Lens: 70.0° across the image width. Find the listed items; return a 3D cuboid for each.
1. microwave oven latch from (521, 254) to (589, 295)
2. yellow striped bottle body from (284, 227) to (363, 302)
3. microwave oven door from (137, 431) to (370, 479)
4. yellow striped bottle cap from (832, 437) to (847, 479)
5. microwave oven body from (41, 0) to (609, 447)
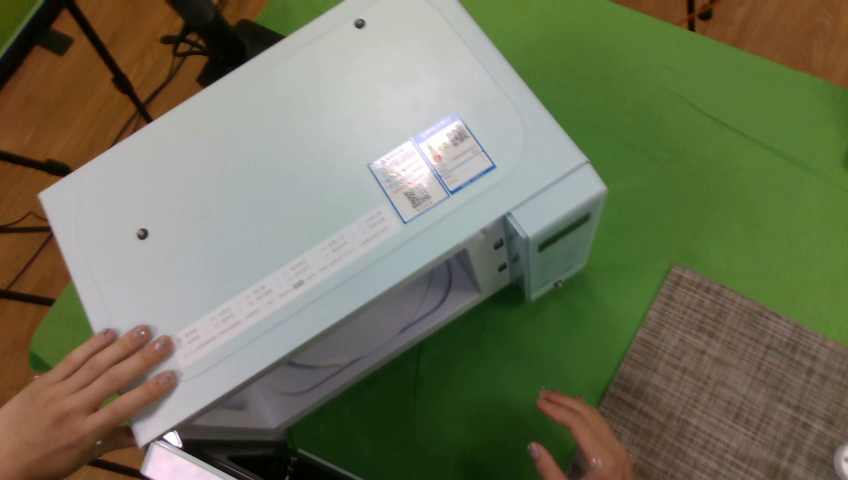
[{"bbox_3d":[0.150,0.031,0.696,0.079,0.030,0.030,-31,71,0],"label":"microwave oven latch"},{"bbox_3d":[-0.108,0.026,0.647,0.063,0.121,0.062,-2,74,6],"label":"yellow striped bottle body"},{"bbox_3d":[-0.045,0.261,0.547,0.354,0.245,0.039,19,76,15],"label":"microwave oven door"},{"bbox_3d":[0.440,0.222,0.613,0.044,0.019,0.044,-3,72,10],"label":"yellow striped bottle cap"},{"bbox_3d":[-0.091,-0.020,0.650,0.442,0.262,0.323,-33,71,-1],"label":"microwave oven body"}]
